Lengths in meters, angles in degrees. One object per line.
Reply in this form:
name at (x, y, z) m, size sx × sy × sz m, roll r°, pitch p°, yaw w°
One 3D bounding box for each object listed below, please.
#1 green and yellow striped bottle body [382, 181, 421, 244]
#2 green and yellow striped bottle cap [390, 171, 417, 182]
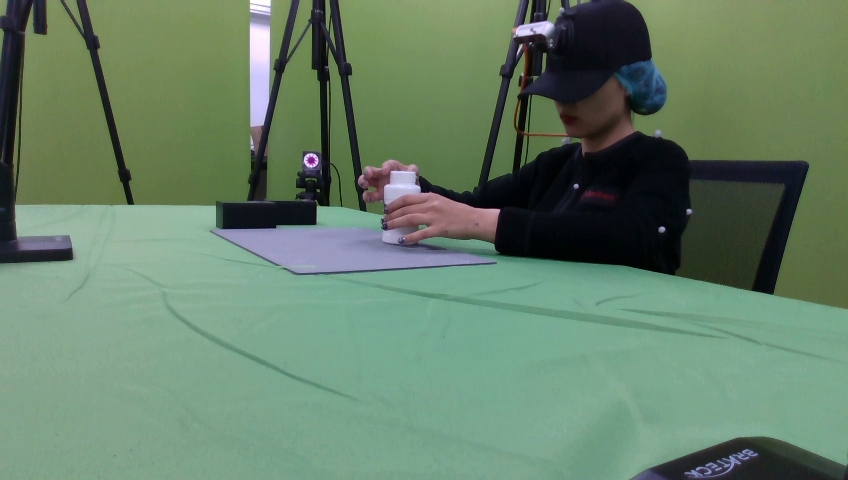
green and yellow striped bottle body at (-0.038, -0.055, 1.018) m, size 0.063 × 0.119 × 0.063 m, roll 3°, pitch 8°, yaw 0°
green and yellow striped bottle cap at (-0.034, -0.107, 1.011) m, size 0.045 × 0.020 × 0.045 m, roll 0°, pitch 7°, yaw 0°
